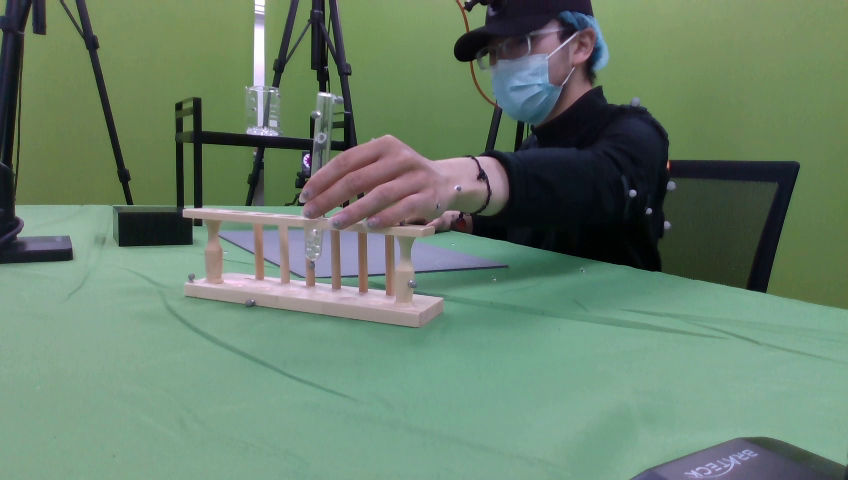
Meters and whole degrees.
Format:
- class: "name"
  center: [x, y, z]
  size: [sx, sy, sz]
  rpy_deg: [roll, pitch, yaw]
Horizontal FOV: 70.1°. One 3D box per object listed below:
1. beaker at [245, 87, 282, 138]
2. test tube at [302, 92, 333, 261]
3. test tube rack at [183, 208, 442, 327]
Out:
- class: "beaker"
  center: [-0.337, -0.266, 1.260]
  size: [0.074, 0.100, 0.084]
  rpy_deg: [5, 8, 23]
- class: "test tube"
  center: [-0.095, -0.055, 0.538]
  size: [0.017, 0.150, 0.017]
  rpy_deg: [6, 8, -1]
- class: "test tube rack"
  center: [-0.106, 0.019, 0.569]
  size: [0.241, 0.085, 0.067]
  rpy_deg: [5, 8, 20]
